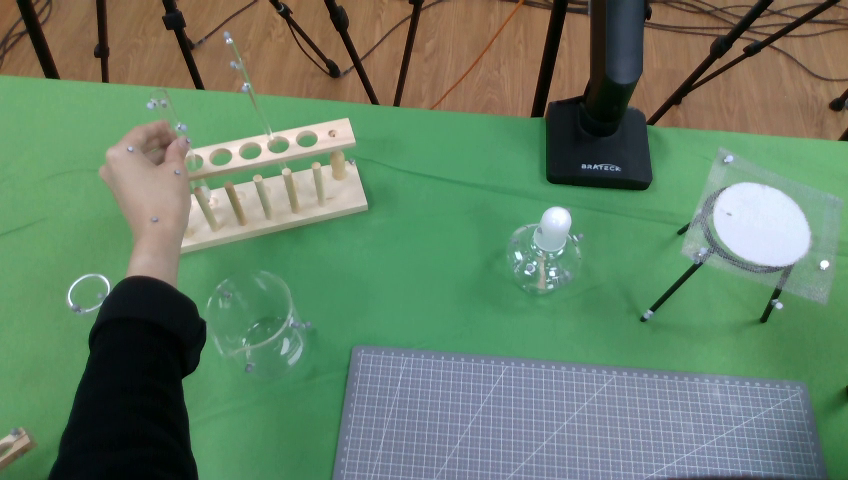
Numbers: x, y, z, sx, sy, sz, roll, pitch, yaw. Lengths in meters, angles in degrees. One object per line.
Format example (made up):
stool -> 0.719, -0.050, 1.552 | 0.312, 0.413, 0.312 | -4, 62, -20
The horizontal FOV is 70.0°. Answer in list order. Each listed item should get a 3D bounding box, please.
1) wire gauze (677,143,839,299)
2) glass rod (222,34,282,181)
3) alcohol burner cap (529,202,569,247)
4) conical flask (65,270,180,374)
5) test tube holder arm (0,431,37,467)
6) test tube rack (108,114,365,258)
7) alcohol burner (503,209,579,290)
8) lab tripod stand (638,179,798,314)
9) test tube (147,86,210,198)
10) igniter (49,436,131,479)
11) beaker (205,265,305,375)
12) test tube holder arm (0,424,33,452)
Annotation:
wire gauze -> 0.298, -0.020, 0.533 | 0.121, 0.011, 0.124 | 24, 64, 10
glass rod -> -0.164, -0.118, 0.605 | 0.008, 0.201, 0.008 | -3, 55, 4
alcohol burner cap -> 0.120, -0.018, 0.575 | 0.034, 0.048, 0.033 | 1, 60, -1
conical flask -> -0.279, 0.070, 0.553 | 0.075, 0.123, 0.074 | 0, 60, -1
test tube holder arm -> -0.361, 0.188, 0.491 | 0.088, 0.015, 0.010 | -35, 66, -19
test tube rack -> -0.191, -0.057, 0.646 | 0.243, 0.086, 0.066 | -14, 62, -9
alcohol burner -> 0.121, 0.002, 0.607 | 0.078, 0.120, 0.077 | 1, 60, -2
lab tripod stand -> 0.290, 0.014, 0.592 | 0.148, 0.132, 0.147 | 1, 60, -2
test tube -> -0.235, -0.089, 0.591 | 0.017, 0.151, 0.017 | 1, 57, -1
igniter -> -0.357, 0.251, 0.453 | 0.276, 0.025, 0.057 | -36, 70, -22
beaker -> -0.153, 0.082, 0.564 | 0.074, 0.101, 0.083 | 18, 63, 9
test tube holder arm -> -0.399, 0.209, 0.478 | 0.178, 0.015, 0.013 | -36, 66, -20
